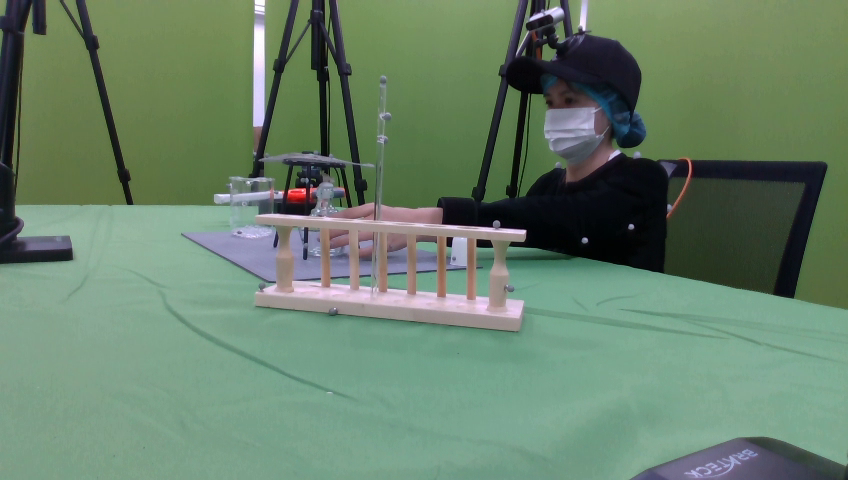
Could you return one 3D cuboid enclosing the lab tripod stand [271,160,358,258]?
[{"bbox_3d":[-0.160,-0.048,0.876,0.148,0.131,0.148,3,5,0],"label":"lab tripod stand"}]

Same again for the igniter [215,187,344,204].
[{"bbox_3d":[-0.289,-0.093,1.255,0.278,0.025,0.057,-6,12,-34],"label":"igniter"}]

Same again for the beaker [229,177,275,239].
[{"bbox_3d":[-0.292,-0.056,1.023,0.074,0.100,0.083,-1,8,-26],"label":"beaker"}]

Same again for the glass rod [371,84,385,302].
[{"bbox_3d":[-0.041,-0.041,0.548,0.008,0.199,0.008,2,2,0],"label":"glass rod"}]

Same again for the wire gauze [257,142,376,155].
[{"bbox_3d":[-0.155,-0.130,0.871,0.124,0.011,0.122,-1,7,36],"label":"wire gauze"}]

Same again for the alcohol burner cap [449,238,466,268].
[{"bbox_3d":[0.051,0.014,0.827,0.034,0.048,0.034,2,5,0],"label":"alcohol burner cap"}]

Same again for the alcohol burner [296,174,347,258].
[{"bbox_3d":[-0.144,-0.035,0.863,0.078,0.119,0.078,1,6,0],"label":"alcohol burner"}]

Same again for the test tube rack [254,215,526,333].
[{"bbox_3d":[-0.030,0.025,0.557,0.242,0.085,0.067,4,7,12],"label":"test tube rack"}]
